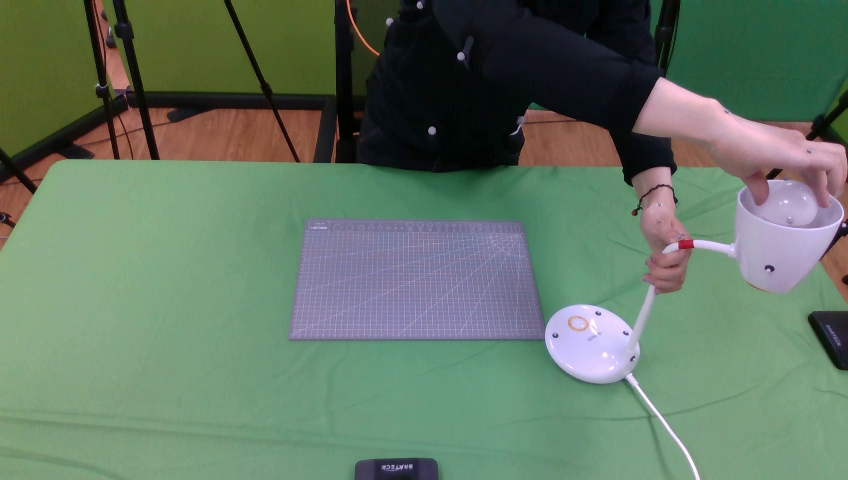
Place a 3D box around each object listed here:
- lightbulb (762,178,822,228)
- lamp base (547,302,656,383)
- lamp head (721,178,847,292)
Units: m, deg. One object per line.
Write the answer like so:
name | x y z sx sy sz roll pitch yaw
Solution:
lightbulb | 0.427 -0.021 0.713 0.059 0.108 0.059 -4 30 3
lamp base | 0.304 0.127 0.982 0.160 0.181 0.178 -33 59 -29
lamp head | 0.422 0.001 0.727 0.112 0.123 0.112 0 38 0
